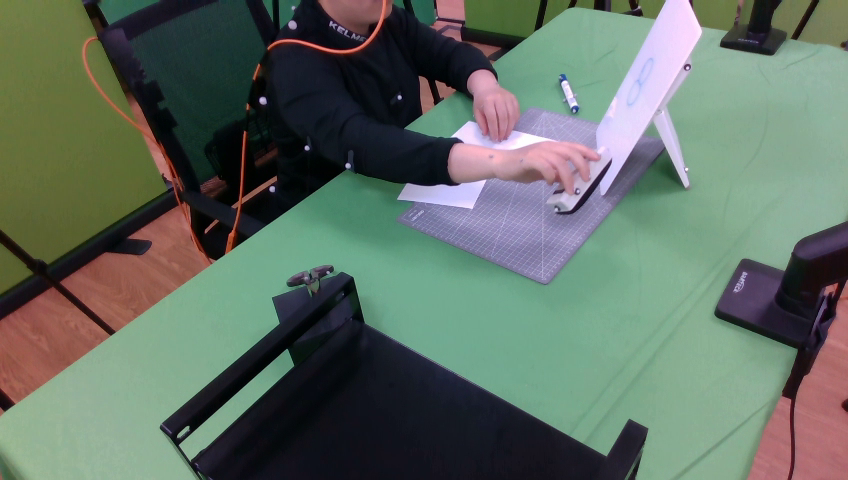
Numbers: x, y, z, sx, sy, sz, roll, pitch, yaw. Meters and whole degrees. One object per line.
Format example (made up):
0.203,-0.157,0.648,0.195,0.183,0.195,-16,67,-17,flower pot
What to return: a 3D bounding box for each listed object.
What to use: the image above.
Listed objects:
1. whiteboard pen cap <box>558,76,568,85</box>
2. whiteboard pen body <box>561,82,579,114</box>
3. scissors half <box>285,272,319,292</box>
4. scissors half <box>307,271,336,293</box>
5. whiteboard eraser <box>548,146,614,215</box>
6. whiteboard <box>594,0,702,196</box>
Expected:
0.310,-0.350,1.341,0.018,0.018,0.033,-6,41,2,whiteboard pen cap
0.310,-0.311,1.298,0.017,0.017,0.140,-6,41,3,whiteboard pen body
-0.172,0.063,0.868,0.040,0.013,0.174,-11,7,-21,scissors half
-0.152,0.061,0.873,0.040,0.013,0.175,-4,6,-4,scissors half
0.238,-0.087,0.910,0.112,0.042,0.055,-52,10,-11,whiteboard eraser
0.421,-0.227,1.010,0.144,0.305,0.216,18,42,-2,whiteboard
